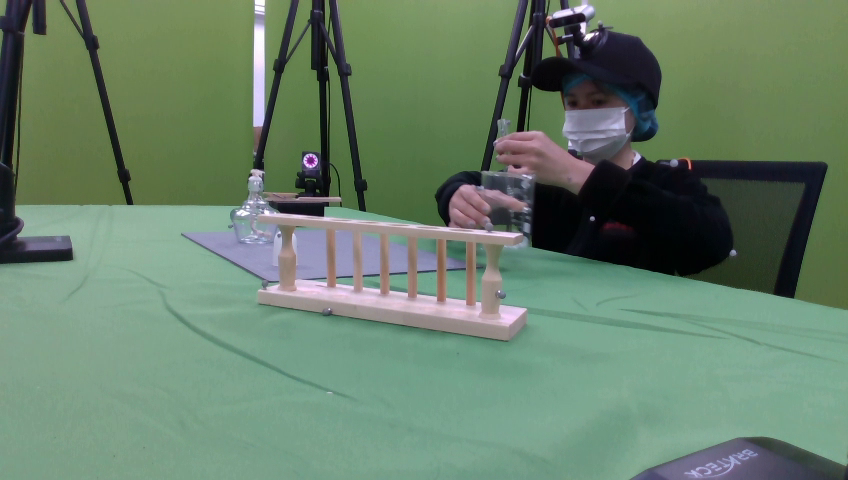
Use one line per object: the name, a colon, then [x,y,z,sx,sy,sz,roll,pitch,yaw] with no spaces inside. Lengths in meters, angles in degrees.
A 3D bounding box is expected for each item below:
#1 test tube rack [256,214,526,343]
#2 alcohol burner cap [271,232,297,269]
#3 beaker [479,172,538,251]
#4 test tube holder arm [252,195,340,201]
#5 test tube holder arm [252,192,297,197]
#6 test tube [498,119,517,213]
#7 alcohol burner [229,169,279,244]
test tube rack: [-0.032,0.027,0.547,0.241,0.085,0.067,5,7,22]
alcohol burner cap: [-0.175,0.012,0.760,0.034,0.048,0.034,2,8,0]
beaker: [0.112,-0.038,0.803,0.074,0.100,0.083,0,7,-27]
test tube holder arm: [-0.260,-0.087,1.242,0.179,0.013,0.015,-1,7,-25]
test tube holder arm: [-0.301,-0.092,1.223,0.088,0.010,0.015,0,7,-25]
test tube: [0.132,-0.118,0.959,0.017,0.150,0.017,-6,0,0]
alcohol burner: [-0.268,-0.053,0.958,0.078,0.119,0.078,2,6,0]
